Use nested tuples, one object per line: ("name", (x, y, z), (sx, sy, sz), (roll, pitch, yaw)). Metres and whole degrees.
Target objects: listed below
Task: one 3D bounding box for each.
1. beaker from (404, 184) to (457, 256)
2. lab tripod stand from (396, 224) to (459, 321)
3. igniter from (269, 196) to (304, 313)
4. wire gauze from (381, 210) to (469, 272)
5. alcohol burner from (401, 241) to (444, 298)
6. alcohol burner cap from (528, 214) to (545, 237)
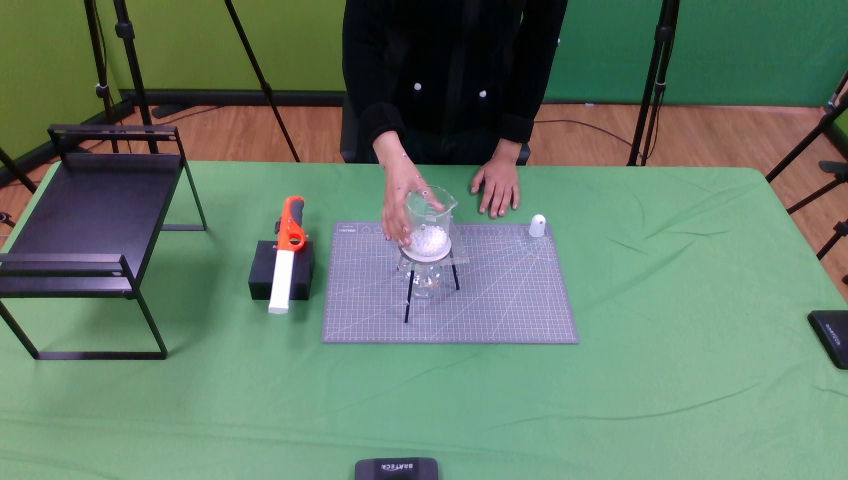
("beaker", (0.009, -0.029, 0.988), (0.084, 0.101, 0.073), (-1, 48, -4))
("lab tripod stand", (-0.004, 0.052, 1.067), (0.148, 0.132, 0.147), (3, 47, -3))
("igniter", (-0.249, 0.016, 1.095), (0.057, 0.025, 0.274), (8, 46, -13))
("wire gauze", (0.000, 0.001, 1.024), (0.125, 0.011, 0.120), (-10, 48, -11))
("alcohol burner", (-0.001, 0.048, 1.085), (0.078, 0.119, 0.077), (2, 44, -2))
("alcohol burner cap", (0.231, -0.032, 1.230), (0.034, 0.048, 0.033), (2, 46, -2))
